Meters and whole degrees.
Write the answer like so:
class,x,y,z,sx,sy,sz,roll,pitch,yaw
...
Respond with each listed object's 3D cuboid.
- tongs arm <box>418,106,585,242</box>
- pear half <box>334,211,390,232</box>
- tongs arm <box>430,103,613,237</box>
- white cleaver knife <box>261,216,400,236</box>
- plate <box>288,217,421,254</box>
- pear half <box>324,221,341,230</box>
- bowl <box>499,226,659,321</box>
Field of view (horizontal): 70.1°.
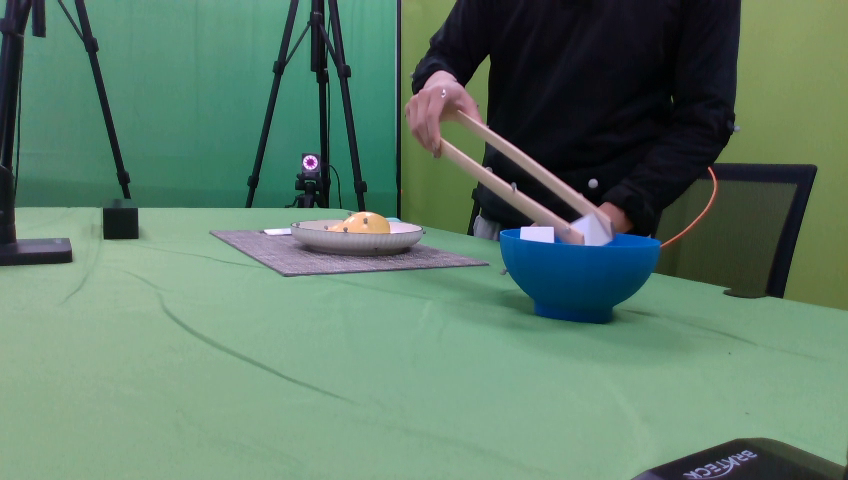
class,x,y,z,sx,sy,sz,roll,pitch,yaw
tongs arm,0.083,-0.092,0.744,0.051,0.026,0.383,-31,39,-14
pear half,-0.107,-0.016,0.919,0.110,0.056,0.076,-4,5,-20
tongs arm,0.103,-0.102,0.748,0.028,0.028,0.385,-31,39,-8
white cleaver knife,-0.169,-0.021,1.156,0.288,0.021,0.065,-7,20,-33
plate,-0.109,-0.007,0.956,0.208,0.039,0.207,2,7,0
pear half,-0.126,-0.019,1.001,0.088,0.031,0.070,8,3,2
bowl,0.145,0.032,0.585,0.151,0.077,0.151,2,7,0
